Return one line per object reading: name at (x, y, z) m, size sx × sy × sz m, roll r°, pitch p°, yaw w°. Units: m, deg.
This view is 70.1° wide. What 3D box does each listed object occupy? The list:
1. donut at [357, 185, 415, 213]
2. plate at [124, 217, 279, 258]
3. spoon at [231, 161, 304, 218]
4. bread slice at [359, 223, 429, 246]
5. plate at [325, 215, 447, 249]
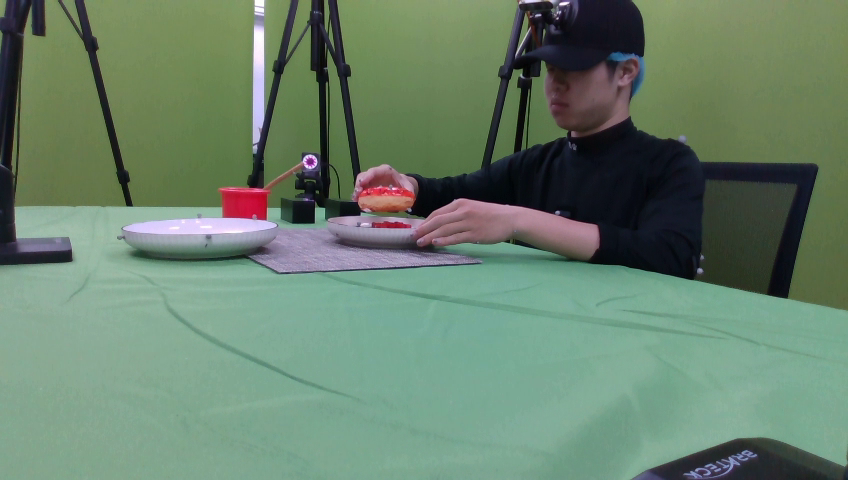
donut at (-0.064, -0.069, 1.029) m, size 0.099 × 0.048 × 0.099 m, roll -1°, pitch 4°, yaw 0°
plate at (-0.315, -0.004, 0.871) m, size 0.208 × 0.039 × 0.207 m, roll 1°, pitch 8°, yaw 0°
spoon at (-0.314, -0.096, 1.192) m, size 0.194 × 0.022 × 0.041 m, roll -42°, pitch 12°, yaw -5°
bread slice at (-0.061, -0.010, 1.035) m, size 0.105 × 0.019 × 0.131 m, roll 0°, pitch 12°, yaw -20°
plate at (-0.065, -0.015, 1.034) m, size 0.209 × 0.038 × 0.209 m, roll 3°, pitch 8°, yaw 0°
